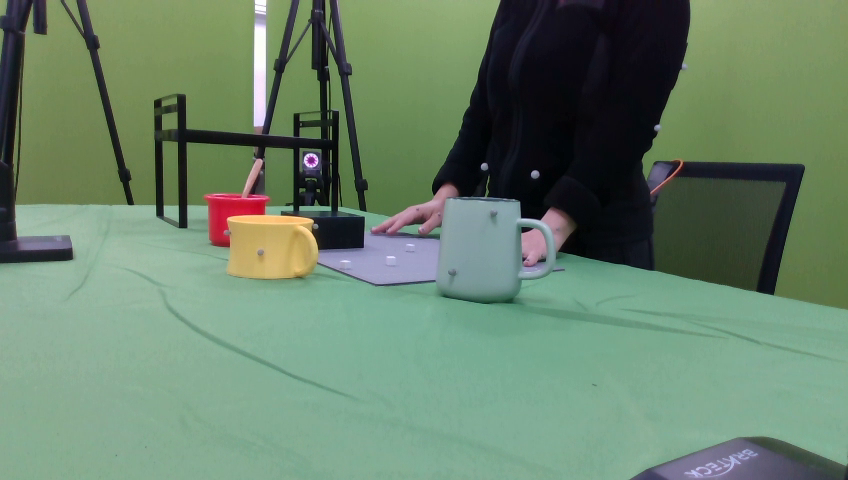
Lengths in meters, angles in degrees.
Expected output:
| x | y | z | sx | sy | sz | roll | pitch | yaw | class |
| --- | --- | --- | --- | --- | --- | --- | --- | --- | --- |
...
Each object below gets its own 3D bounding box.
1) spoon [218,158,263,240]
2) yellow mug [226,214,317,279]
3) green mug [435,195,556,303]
| x | y | z | sx | sy | sz | roll | pitch | yaw | class |
| --- | --- | --- | --- | --- | --- | --- | --- | --- | --- |
| -0.287 | -0.070 | 0.974 | 0.041 | 0.021 | 0.193 | 6 | 51 | 1 | spoon |
| -0.172 | 0.007 | 0.717 | 0.130 | 0.064 | 0.100 | 9 | 9 | 36 | yellow mug |
| 0.074 | 0.009 | 0.624 | 0.125 | 0.105 | 0.093 | 5 | 7 | 23 | green mug |
